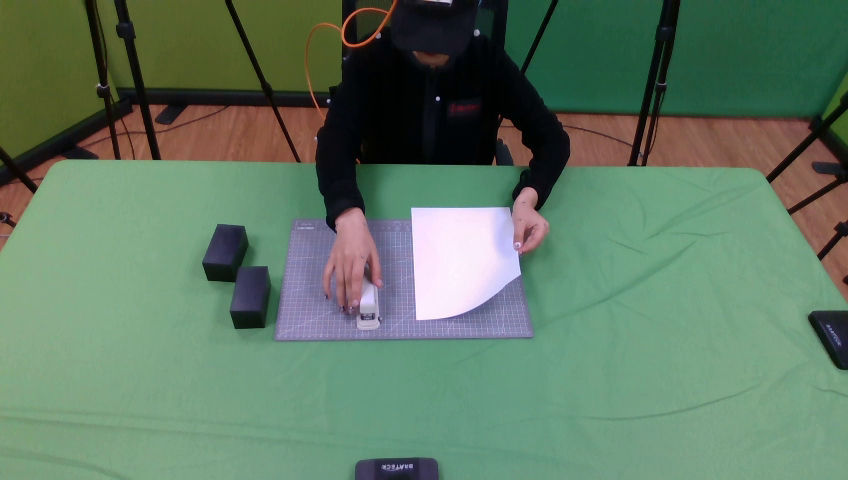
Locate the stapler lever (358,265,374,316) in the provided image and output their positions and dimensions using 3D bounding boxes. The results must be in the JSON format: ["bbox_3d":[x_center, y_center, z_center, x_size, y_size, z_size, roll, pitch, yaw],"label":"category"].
[{"bbox_3d":[-0.103,0.083,1.071,0.027,0.040,0.117,-2,45,-6],"label":"stapler lever"}]

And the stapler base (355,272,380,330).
[{"bbox_3d":[-0.103,0.102,1.088,0.041,0.024,0.129,-2,45,-6],"label":"stapler base"}]
